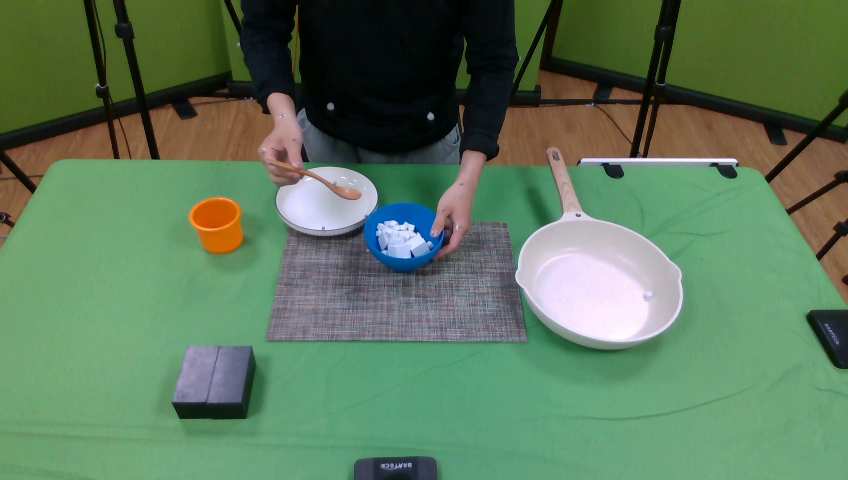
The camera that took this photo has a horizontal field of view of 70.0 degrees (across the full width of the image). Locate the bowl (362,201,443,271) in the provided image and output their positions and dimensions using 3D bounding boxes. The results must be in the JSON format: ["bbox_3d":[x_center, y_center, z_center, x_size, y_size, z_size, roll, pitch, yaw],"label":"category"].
[{"bbox_3d":[-0.041,0.005,1.144,0.151,0.077,0.150,2,47,-2],"label":"bowl"}]

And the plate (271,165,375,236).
[{"bbox_3d":[-0.204,-0.076,1.240,0.208,0.039,0.206,3,44,-2],"label":"plate"}]

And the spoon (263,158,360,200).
[{"bbox_3d":[-0.189,-0.106,1.037,0.195,0.021,0.041,24,22,-42],"label":"spoon"}]

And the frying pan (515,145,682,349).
[{"bbox_3d":[0.302,-0.004,1.168,0.307,0.103,0.484,-2,55,-7],"label":"frying pan"}]
